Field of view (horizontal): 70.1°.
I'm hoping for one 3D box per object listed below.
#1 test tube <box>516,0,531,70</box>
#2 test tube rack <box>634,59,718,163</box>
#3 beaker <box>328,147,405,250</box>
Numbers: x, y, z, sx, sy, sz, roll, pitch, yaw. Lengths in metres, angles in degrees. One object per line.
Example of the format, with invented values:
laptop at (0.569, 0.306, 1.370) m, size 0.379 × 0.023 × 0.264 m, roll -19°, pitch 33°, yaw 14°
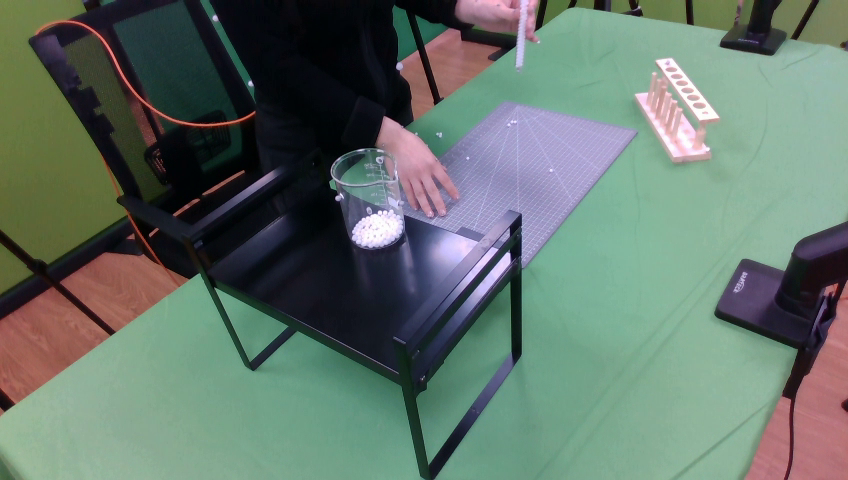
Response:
test tube at (0.168, -0.360, 1.021) m, size 0.017 × 0.151 × 0.017 m, roll 0°, pitch 40°, yaw 1°
test tube rack at (0.470, -0.250, 1.148) m, size 0.067 × 0.085 × 0.241 m, roll -6°, pitch 40°, yaw 3°
beaker at (-0.060, -0.045, 0.699) m, size 0.083 × 0.101 × 0.074 m, roll 19°, pitch 47°, yaw 27°
